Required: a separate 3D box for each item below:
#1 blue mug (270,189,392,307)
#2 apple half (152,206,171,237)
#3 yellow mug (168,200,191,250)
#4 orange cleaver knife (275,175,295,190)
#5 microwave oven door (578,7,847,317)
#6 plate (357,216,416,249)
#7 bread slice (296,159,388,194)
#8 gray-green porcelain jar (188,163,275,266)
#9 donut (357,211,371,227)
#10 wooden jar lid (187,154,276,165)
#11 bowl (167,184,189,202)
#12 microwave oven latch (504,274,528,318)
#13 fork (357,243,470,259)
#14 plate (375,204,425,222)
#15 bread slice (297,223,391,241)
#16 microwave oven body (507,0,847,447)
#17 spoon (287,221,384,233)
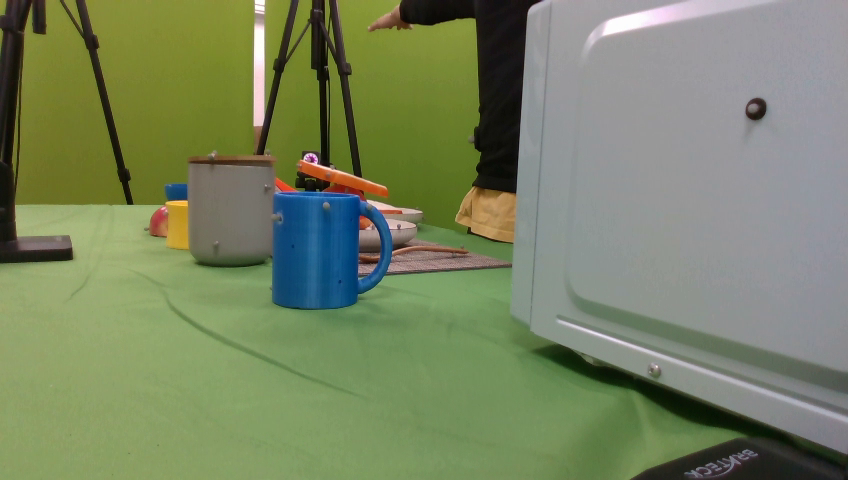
[{"bbox_3d":[-0.090,0.005,0.588,0.117,0.106,0.082,1,7,-11],"label":"blue mug"},{"bbox_3d":[-0.415,-0.034,1.017,0.081,0.053,0.074,1,10,-8],"label":"apple half"},{"bbox_3d":[-0.319,-0.023,0.904,0.130,0.064,0.100,8,10,36],"label":"yellow mug"},{"bbox_3d":[-0.283,-0.087,1.343,0.212,0.077,0.012,23,-16,-41],"label":"orange cleaver knife"},{"bbox_3d":[0.294,-0.067,0.570,0.358,0.243,0.039,-3,9,-31],"label":"microwave oven door"},{"bbox_3d":[-0.116,-0.014,0.967,0.208,0.039,0.207,2,7,0],"label":"plate"},{"bbox_3d":[-0.132,-0.102,0.952,0.132,0.019,0.104,13,6,-36],"label":"bread slice"},{"bbox_3d":[-0.246,-0.034,0.779,0.106,0.126,0.106,1,7,0],"label":"gray-green porcelain jar"},{"bbox_3d":[-0.129,-0.041,0.956,0.099,0.048,0.099,2,7,0],"label":"donut"},{"bbox_3d":[-0.244,-0.097,0.771,0.108,0.020,0.108,-1,7,0],"label":"wooden jar lid"},{"bbox_3d":[-0.408,-0.064,1.154,0.151,0.077,0.151,2,8,0],"label":"bowl"},{"bbox_3d":[0.100,0.041,0.470,0.079,0.029,0.030,-1,7,-27],"label":"microwave oven latch"},{"bbox_3d":[-0.017,0.014,0.845,0.208,0.018,0.028,-5,-1,-35],"label":"fork"},{"bbox_3d":[-0.102,-0.053,1.299,0.209,0.038,0.209,2,8,0],"label":"plate"},{"bbox_3d":[-0.121,-0.015,0.970,0.106,0.018,0.135,9,9,40],"label":"bread slice"},{"bbox_3d":[0.331,-0.042,0.425,0.444,0.260,0.324,-2,8,-31],"label":"microwave oven body"},{"bbox_3d":[-0.156,-0.027,1.110,0.195,0.021,0.041,-4,-14,-35],"label":"spoon"}]
